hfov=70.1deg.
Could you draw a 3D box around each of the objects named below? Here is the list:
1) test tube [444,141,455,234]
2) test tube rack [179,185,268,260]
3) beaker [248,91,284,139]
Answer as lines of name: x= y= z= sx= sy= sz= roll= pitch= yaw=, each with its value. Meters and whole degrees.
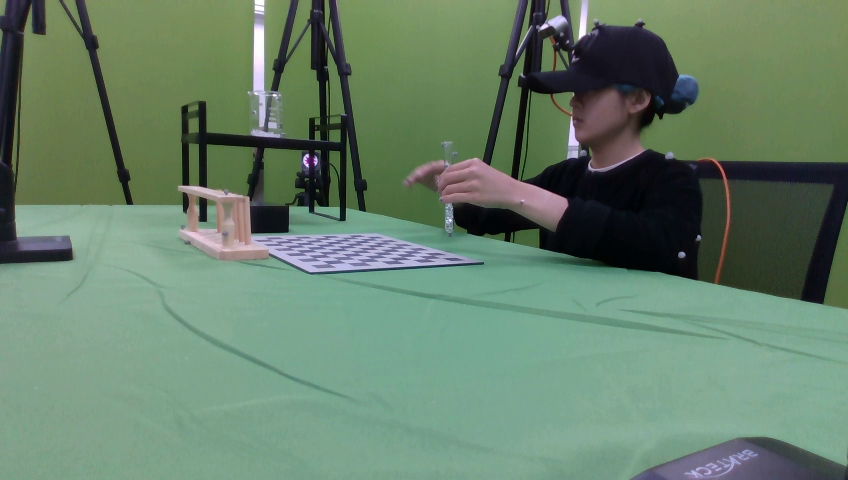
test tube: x=0.041 y=-0.084 z=0.976 sx=0.017 sy=0.150 sz=0.017 roll=-1 pitch=12 yaw=0
test tube rack: x=-0.303 y=-0.031 z=0.898 sx=0.067 sy=0.085 sz=0.241 roll=-2 pitch=9 yaw=-33
beaker: x=-0.353 y=-0.277 z=1.343 sx=0.073 sy=0.100 sz=0.084 roll=8 pitch=9 yaw=39
